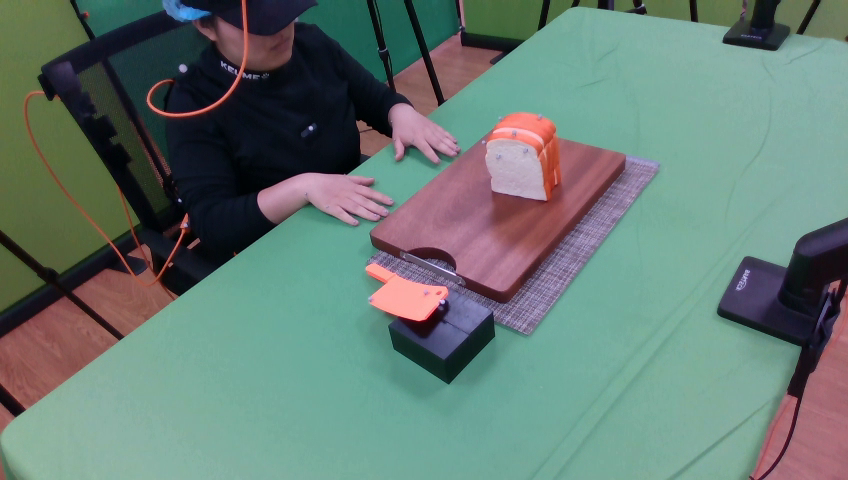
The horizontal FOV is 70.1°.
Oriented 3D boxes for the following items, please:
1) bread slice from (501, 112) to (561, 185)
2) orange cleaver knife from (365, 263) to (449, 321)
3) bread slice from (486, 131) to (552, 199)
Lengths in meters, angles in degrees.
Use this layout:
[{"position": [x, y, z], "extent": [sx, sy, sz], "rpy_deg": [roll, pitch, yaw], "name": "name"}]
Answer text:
[{"position": [0.176, -0.150, 1.002], "extent": [0.106, 0.135, 0.018], "rpy_deg": [16, 52, 23], "name": "bread slice"}, {"position": [-0.042, 0.072, 0.870], "extent": [0.077, 0.012, 0.209], "rpy_deg": [-37, 28, -23], "name": "orange cleaver knife"}, {"position": [0.149, -0.119, 0.973], "extent": [0.104, 0.132, 0.019], "rpy_deg": [11, 54, 27], "name": "bread slice"}]
